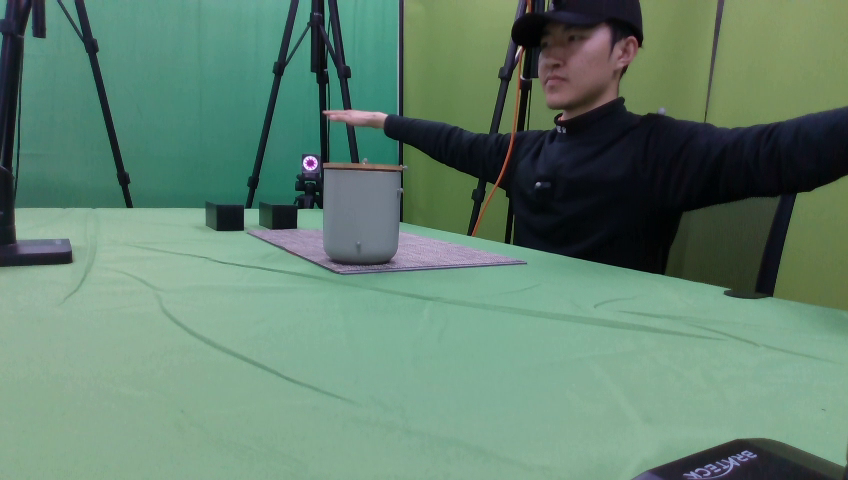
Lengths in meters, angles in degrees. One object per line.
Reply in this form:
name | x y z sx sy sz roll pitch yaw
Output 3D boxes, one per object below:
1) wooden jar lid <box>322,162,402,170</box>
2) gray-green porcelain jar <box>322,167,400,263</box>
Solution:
wooden jar lid | -0.084 -0.095 0.825 0.108 0.020 0.108 2 4 0
gray-green porcelain jar | -0.087 -0.035 0.833 0.106 0.126 0.106 2 7 0
